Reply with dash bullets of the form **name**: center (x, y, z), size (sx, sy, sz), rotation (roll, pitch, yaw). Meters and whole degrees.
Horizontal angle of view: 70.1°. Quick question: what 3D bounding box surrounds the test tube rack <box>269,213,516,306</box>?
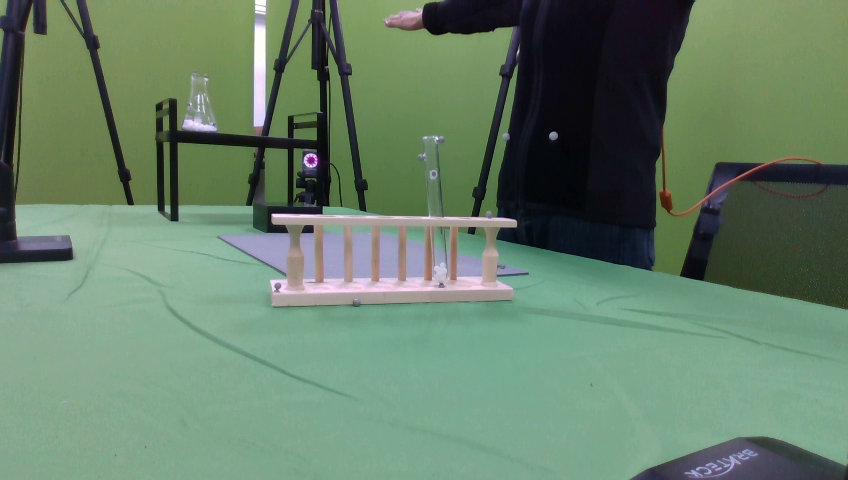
- **test tube rack**: center (-0.032, 0.015, 0.617), size (0.243, 0.085, 0.066), rotation (0, 7, -17)

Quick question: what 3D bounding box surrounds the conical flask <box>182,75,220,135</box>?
- **conical flask**: center (-0.475, -0.287, 1.288), size (0.075, 0.122, 0.075), rotation (2, 7, 0)

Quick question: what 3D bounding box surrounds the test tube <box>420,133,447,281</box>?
- **test tube**: center (0.010, -0.031, 0.607), size (0.017, 0.150, 0.017), rotation (-5, 10, 1)
